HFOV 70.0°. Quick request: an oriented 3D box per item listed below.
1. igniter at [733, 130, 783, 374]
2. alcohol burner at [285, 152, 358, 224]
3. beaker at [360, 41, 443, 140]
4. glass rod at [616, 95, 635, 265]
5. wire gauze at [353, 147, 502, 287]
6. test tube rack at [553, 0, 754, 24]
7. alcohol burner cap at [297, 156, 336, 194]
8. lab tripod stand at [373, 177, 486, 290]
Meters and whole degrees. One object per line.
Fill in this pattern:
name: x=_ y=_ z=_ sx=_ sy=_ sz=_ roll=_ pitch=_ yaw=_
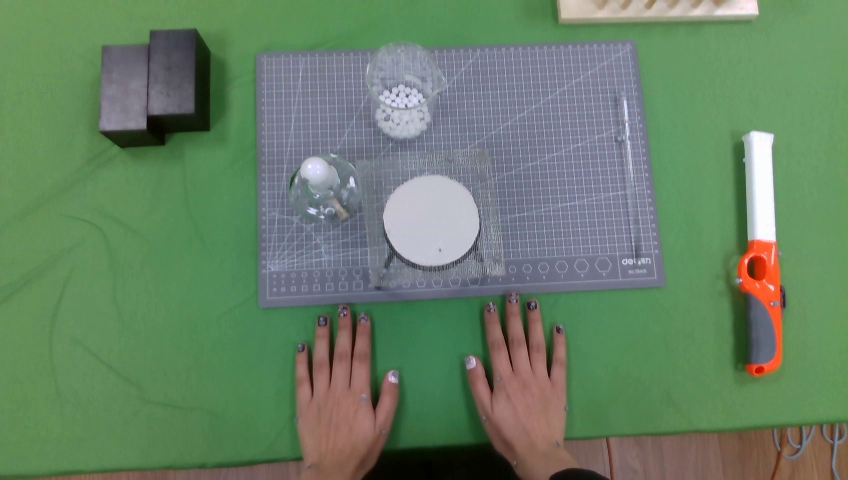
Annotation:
igniter: x=0.373 y=0.011 z=0.679 sx=0.057 sy=0.025 sz=0.275 roll=6 pitch=79 yaw=-11
alcohol burner: x=-0.108 y=-0.059 z=0.627 sx=0.078 sy=0.119 sz=0.077 roll=0 pitch=77 yaw=-1
beaker: x=-0.024 y=-0.156 z=0.655 sx=0.084 sy=0.100 sz=0.073 roll=6 pitch=79 yaw=-1
glass rod: x=0.232 y=-0.070 z=0.695 sx=0.008 sy=0.008 sz=0.199 roll=-2 pitch=83 yaw=-3
wire gauze: x=0.003 y=-0.022 z=0.546 sx=0.125 sy=0.011 sz=0.121 roll=-6 pitch=79 yaw=-3
test tube rack: x=0.279 y=-0.308 z=0.705 sx=0.242 sy=0.085 sz=0.066 roll=-3 pitch=79 yaw=-2
alcohol burner cap: x=-0.106 y=-0.065 z=0.591 sx=0.034 sy=0.048 sz=0.034 roll=0 pitch=84 yaw=4
lab tripod stand: x=0.001 y=-0.006 z=0.611 sx=0.148 sy=0.132 sz=0.147 roll=0 pitch=78 yaw=0
